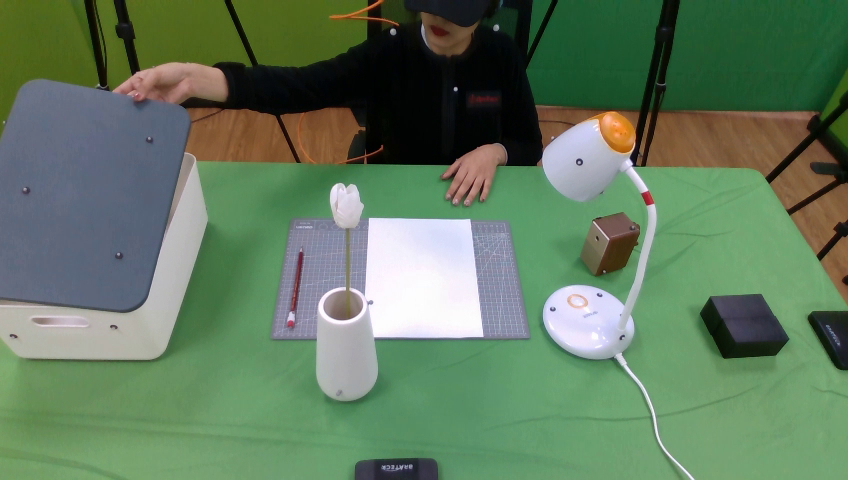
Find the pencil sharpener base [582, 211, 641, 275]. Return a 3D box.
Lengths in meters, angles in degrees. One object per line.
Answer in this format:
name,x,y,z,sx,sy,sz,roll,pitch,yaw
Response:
pencil sharpener base,0.357,0.005,1.156,0.077,0.107,0.061,-15,48,-18

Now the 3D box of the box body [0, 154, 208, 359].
box body,-0.541,0.021,1.042,0.254,0.161,0.361,1,46,-3

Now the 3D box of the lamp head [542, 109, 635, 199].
lamp head,0.253,-0.131,0.893,0.113,0.123,0.112,10,66,-24

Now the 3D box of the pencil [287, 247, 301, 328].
pencil,-0.236,0.081,1.107,0.012,0.012,0.193,0,45,-4

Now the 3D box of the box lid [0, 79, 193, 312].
box lid,-0.523,-0.079,0.927,0.264,0.015,0.369,9,65,-12

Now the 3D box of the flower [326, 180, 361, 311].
flower,-0.110,0.087,0.867,0.044,0.363,0.038,22,34,36

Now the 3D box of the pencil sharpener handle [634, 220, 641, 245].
pencil sharpener handle,0.405,-0.015,1.161,0.031,0.068,0.035,-15,43,-18

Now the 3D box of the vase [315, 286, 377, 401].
vase,-0.119,0.159,0.911,0.098,0.201,0.097,2,47,-2

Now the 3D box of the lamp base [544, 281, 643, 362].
lamp base,0.303,0.095,1.014,0.161,0.181,0.178,-24,54,-24
